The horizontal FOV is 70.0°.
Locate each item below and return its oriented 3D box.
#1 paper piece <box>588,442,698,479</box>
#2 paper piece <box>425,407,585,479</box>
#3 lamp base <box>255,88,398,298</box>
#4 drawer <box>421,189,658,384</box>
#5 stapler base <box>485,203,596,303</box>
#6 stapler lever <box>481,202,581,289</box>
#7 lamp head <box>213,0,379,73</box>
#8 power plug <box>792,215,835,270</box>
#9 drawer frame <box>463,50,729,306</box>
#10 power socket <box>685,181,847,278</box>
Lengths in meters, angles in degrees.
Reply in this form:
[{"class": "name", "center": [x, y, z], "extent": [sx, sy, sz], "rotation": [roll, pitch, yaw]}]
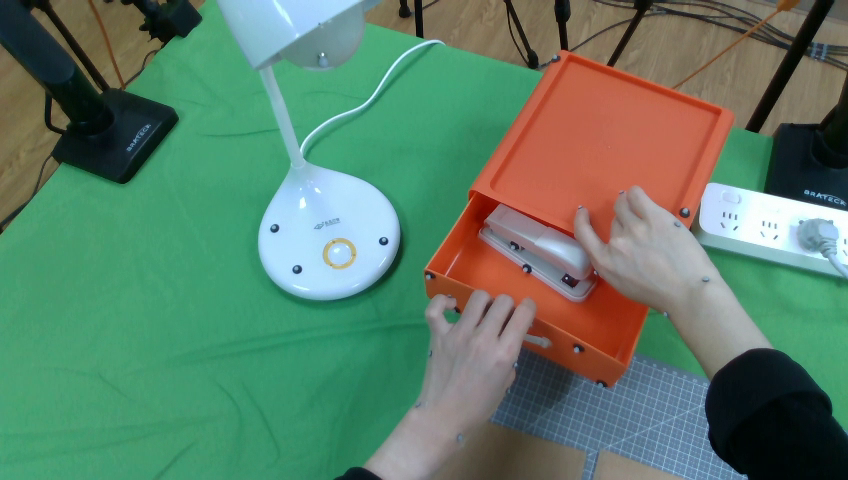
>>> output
[{"class": "paper piece", "center": [0.201, 0.266, 0.529], "extent": [0.135, 0.004, 0.135], "rotation": [19, 63, 12]}, {"class": "paper piece", "center": [0.066, 0.235, 0.552], "extent": [0.135, 0.009, 0.137], "rotation": [15, 63, 13]}, {"class": "lamp base", "center": [-0.120, -0.055, 0.624], "extent": [0.160, 0.182, 0.177], "rotation": [-30, 61, -14]}, {"class": "drawer", "center": [0.132, 0.003, 0.592], "extent": [0.193, 0.074, 0.211], "rotation": [25, 64, 16]}, {"class": "stapler base", "center": [0.111, 0.009, 0.603], "extent": [0.041, 0.025, 0.129], "rotation": [-50, 58, 4]}, {"class": "stapler lever", "center": [0.101, 0.003, 0.587], "extent": [0.117, 0.040, 0.027], "rotation": [42, 95, 26]}, {"class": "lamp head", "center": [-0.088, -0.177, 0.359], "extent": [0.112, 0.112, 0.123], "rotation": [-37, 104, -17]}, {"class": "power plug", "center": [0.400, 0.005, 0.631], "extent": [0.035, 0.053, 0.072], "rotation": [24, 65, 15]}, {"class": "drawer frame", "center": [0.176, -0.072, 0.628], "extent": [0.200, 0.083, 0.212], "rotation": [25, 64, 15]}, {"class": "power socket", "center": [0.401, -0.010, 0.666], "extent": [0.226, 0.033, 0.072], "rotation": [14, 63, 9]}]
